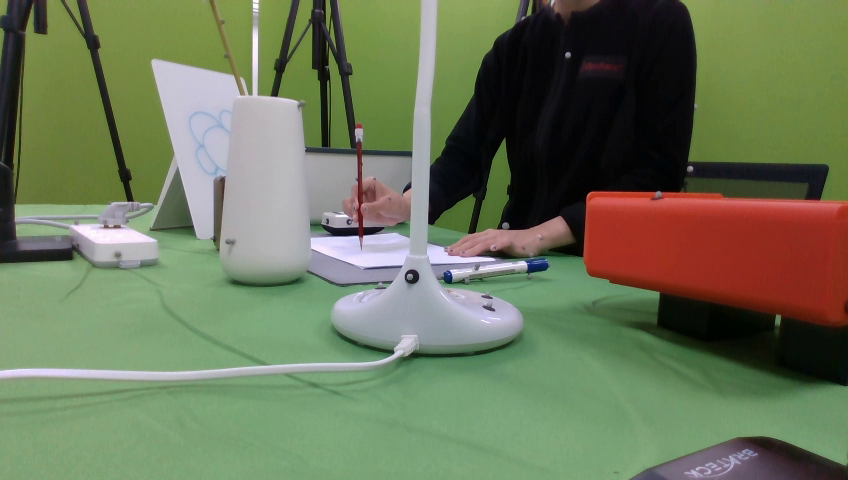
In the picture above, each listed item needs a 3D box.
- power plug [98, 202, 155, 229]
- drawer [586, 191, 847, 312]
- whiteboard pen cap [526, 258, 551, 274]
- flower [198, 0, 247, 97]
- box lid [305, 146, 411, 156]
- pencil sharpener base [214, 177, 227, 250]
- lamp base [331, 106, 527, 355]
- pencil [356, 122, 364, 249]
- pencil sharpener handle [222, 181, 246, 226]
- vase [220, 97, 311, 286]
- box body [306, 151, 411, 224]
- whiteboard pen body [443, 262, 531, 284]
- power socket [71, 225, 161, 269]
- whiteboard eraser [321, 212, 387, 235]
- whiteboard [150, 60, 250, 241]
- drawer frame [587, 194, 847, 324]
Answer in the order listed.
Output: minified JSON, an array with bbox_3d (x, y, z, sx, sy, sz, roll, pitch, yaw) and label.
[{"bbox_3d":[-0.416,-0.027,0.848,0.073,0.052,0.035,0,8,-28],"label":"power plug"},{"bbox_3d":[0.281,0.001,0.513,0.195,0.073,0.210,-1,8,-29],"label":"drawer"},{"bbox_3d":[0.141,0.033,0.759,0.033,0.018,0.018,-7,11,-26],"label":"whiteboard pen cap"},{"bbox_3d":[-0.187,-0.133,0.648,0.038,0.362,0.044,-1,22,43],"label":"flower"},{"bbox_3d":[-0.229,-0.200,1.360,0.373,0.015,0.262,-3,9,-33],"label":"box lid"},{"bbox_3d":[-0.265,-0.036,0.870,0.061,0.107,0.076,-2,8,-29],"label":"pencil sharpener base"},{"bbox_3d":[0.006,-0.012,0.478,0.161,0.180,0.179,2,10,2],"label":"lamp base"},{"bbox_3d":[-0.096,-0.082,0.915,0.012,0.194,0.012,-2,-2,0],"label":"pencil"},{"bbox_3d":[-0.289,-0.055,0.912,0.036,0.067,0.030,-3,9,-29],"label":"pencil sharpener handle"},{"bbox_3d":[-0.172,-0.052,0.662,0.098,0.200,0.098,3,8,0],"label":"vase"},{"bbox_3d":[-0.230,-0.126,1.371,0.366,0.160,0.253,-2,8,-33],"label":"box body"},{"bbox_3d":[0.087,0.038,0.734,0.141,0.017,0.017,-5,10,-27],"label":"whiteboard pen body"},{"bbox_3d":[-0.408,0.004,0.793,0.072,0.032,0.225,-2,8,-38],"label":"power socket"},{"bbox_3d":[-0.128,-0.031,1.108,0.113,0.042,0.055,-3,8,-38],"label":"whiteboard eraser"},{"bbox_3d":[-0.408,-0.139,1.093,0.143,0.305,0.218,-15,-1,26],"label":"whiteboard"},{"bbox_3d":[0.286,0.004,0.508,0.203,0.082,0.212,-1,6,-30],"label":"drawer frame"}]
